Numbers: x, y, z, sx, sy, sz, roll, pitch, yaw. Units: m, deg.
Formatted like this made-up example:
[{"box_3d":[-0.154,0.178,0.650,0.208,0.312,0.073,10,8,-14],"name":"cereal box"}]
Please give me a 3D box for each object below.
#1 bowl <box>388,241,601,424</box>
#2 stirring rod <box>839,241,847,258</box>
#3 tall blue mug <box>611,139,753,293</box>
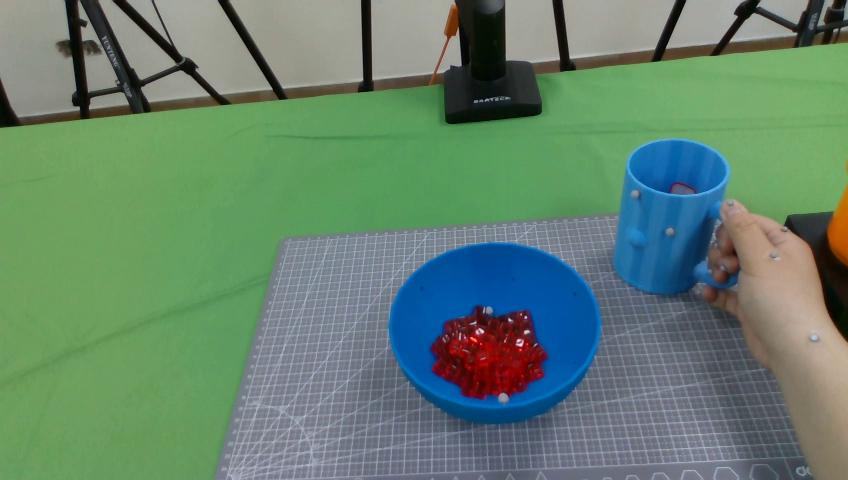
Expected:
[{"box_3d":[0.052,0.080,0.454,0.151,0.077,0.150,-4,44,4],"name":"bowl"},{"box_3d":[0.374,-0.047,0.423,0.176,0.006,0.014,-46,37,23],"name":"stirring rod"},{"box_3d":[0.216,-0.015,0.504,0.106,0.109,0.077,15,47,23],"name":"tall blue mug"}]
